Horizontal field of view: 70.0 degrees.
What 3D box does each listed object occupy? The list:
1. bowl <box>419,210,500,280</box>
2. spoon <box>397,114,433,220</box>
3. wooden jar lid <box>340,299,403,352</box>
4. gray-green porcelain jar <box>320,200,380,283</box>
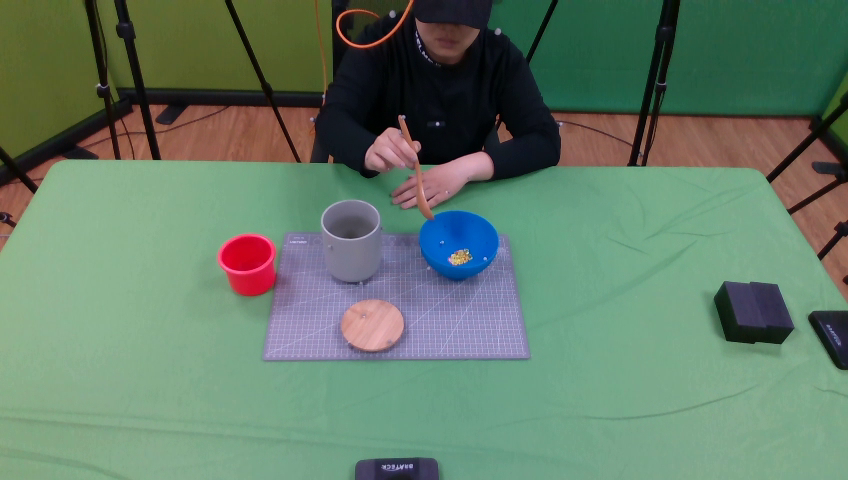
[{"bbox_3d":[0.062,0.022,1.140,0.151,0.077,0.150,2,46,-2],"label":"bowl"},{"bbox_3d":[-0.015,-0.121,1.035,0.021,0.194,0.041,-19,21,-17],"label":"spoon"},{"bbox_3d":[-0.090,0.150,1.046,0.108,0.021,0.107,3,47,-3],"label":"wooden jar lid"},{"bbox_3d":[-0.132,0.007,1.106,0.106,0.127,0.105,2,46,-2],"label":"gray-green porcelain jar"}]
